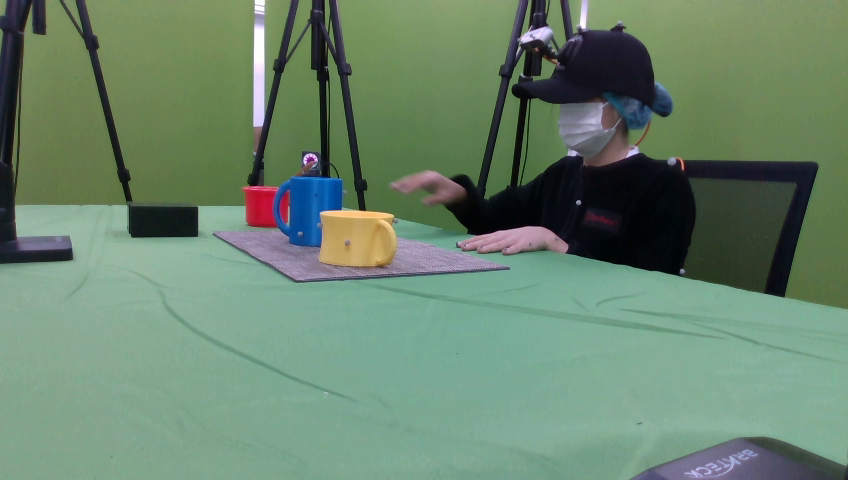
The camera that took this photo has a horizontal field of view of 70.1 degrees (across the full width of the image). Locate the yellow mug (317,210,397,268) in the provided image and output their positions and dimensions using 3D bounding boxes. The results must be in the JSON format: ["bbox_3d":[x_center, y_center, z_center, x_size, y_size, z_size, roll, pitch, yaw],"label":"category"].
[{"bbox_3d":[-0.081,-0.001,0.796,0.100,0.064,0.130,-4,11,-45],"label":"yellow mug"}]

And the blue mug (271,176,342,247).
[{"bbox_3d":[-0.190,-0.047,0.963,0.116,0.106,0.082,4,7,13],"label":"blue mug"}]

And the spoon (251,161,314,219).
[{"bbox_3d":[-0.280,-0.097,1.194,0.193,0.021,0.042,-43,-15,26],"label":"spoon"}]
